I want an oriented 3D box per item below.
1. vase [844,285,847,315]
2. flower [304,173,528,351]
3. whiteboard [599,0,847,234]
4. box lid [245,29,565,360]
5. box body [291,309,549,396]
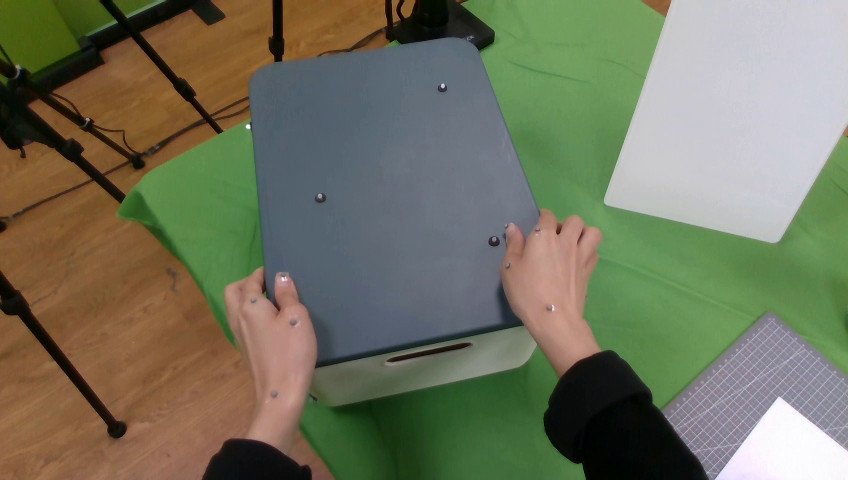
[{"bbox_3d":[0.521,0.034,0.610,0.098,0.201,0.097,0,58,0],"label":"vase"},{"bbox_3d":[-0.027,0.010,0.722,0.358,0.038,0.044,36,96,26],"label":"flower"},{"bbox_3d":[0.361,-0.188,0.715,0.217,0.308,0.143,14,41,9],"label":"whiteboard"},{"bbox_3d":[-0.036,-0.074,0.602,0.264,0.015,0.367,-11,59,-7],"label":"box lid"},{"bbox_3d":[-0.035,-0.033,0.665,0.254,0.162,0.360,-11,59,-6],"label":"box body"}]
